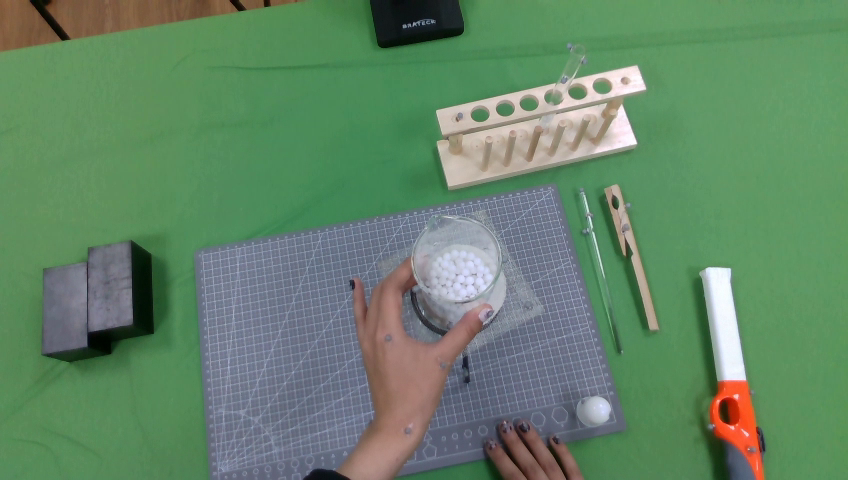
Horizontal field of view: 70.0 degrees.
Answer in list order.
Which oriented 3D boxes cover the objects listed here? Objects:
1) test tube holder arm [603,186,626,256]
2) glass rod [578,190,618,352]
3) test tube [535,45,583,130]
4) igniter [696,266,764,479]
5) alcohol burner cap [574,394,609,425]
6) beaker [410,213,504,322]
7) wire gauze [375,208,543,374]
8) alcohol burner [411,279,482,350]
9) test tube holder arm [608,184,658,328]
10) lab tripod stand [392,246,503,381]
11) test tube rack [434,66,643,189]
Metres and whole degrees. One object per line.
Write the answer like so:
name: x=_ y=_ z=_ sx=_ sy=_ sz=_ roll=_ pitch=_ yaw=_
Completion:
test tube holder arm: x=0.232 y=-0.024 z=0.730 sx=0.010 sy=0.015 sz=0.087 roll=-21 pitch=70 yaw=30
glass rod: x=0.205 y=0.033 z=0.715 sx=0.008 sy=0.008 sz=0.198 roll=-8 pitch=74 yaw=-2
test tube: x=0.152 y=-0.169 z=0.693 sx=0.017 sy=0.151 sz=0.017 roll=2 pitch=69 yaw=-4
igniter: x=0.331 y=0.162 z=0.659 sx=0.057 sy=0.025 sz=0.274 roll=3 pitch=71 yaw=-8
alcohol burner cap: x=0.180 y=0.179 z=0.645 sx=0.034 sy=0.048 sz=0.033 roll=0 pitch=70 yaw=2
beaker: x=0.027 y=0.028 z=0.532 sx=0.074 sy=0.101 sz=0.083 roll=-26 pitch=72 yaw=-4
wire gauze: x=0.031 y=0.045 z=0.576 sx=0.121 sy=0.011 sz=0.124 roll=-27 pitch=74 yaw=-4
alcohol burner: x=0.024 y=0.075 z=0.647 sx=0.078 sy=0.120 sz=0.077 roll=-1 pitch=69 yaw=2
test tube holder arm: x=0.245 y=0.016 z=0.713 sx=0.013 sy=0.015 sz=0.177 roll=-22 pitch=69 yaw=29
lab tripod stand: x=0.029 y=0.069 z=0.638 sx=0.148 sy=0.132 sz=0.147 roll=-1 pitch=72 yaw=3
test tube rack: x=0.137 y=-0.134 z=0.733 sx=0.242 sy=0.086 sz=0.066 roll=-13 pitch=71 yaw=-3
